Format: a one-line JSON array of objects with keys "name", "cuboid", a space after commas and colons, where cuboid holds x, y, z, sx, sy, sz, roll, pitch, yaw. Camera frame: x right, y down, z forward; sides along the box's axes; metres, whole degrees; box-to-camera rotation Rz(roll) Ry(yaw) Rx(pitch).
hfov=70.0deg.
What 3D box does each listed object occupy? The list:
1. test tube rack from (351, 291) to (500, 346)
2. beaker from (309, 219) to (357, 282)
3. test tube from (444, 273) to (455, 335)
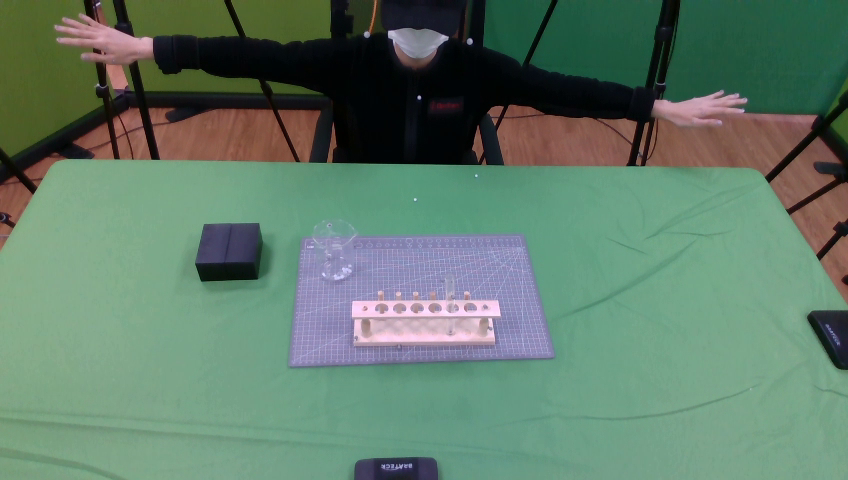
[{"name": "test tube rack", "cuboid": [0.001, 0.129, 1.026, 0.242, 0.085, 0.066, 0, 46, -4]}, {"name": "beaker", "cuboid": [-0.164, 0.021, 1.107, 0.084, 0.101, 0.073, -5, 47, -11]}, {"name": "test tube", "cuboid": [0.042, 0.107, 0.981, 0.017, 0.151, 0.017, -1, 47, 2]}]
